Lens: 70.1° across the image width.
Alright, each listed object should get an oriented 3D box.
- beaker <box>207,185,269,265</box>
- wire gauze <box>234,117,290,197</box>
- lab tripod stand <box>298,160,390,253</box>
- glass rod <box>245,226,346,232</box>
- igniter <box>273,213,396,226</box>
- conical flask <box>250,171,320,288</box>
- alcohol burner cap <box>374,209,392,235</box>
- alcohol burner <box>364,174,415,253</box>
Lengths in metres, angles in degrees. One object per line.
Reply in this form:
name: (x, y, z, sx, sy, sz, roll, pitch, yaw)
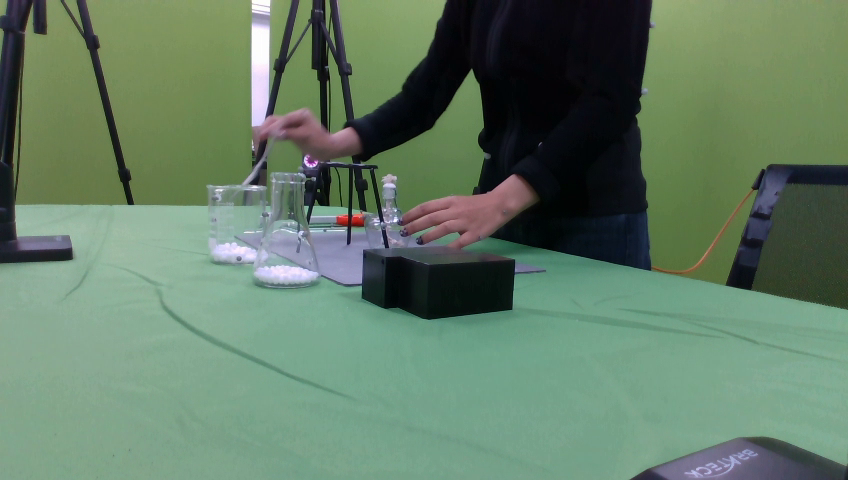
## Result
beaker: (-0.244, -0.021, 0.784, 0.083, 0.100, 0.074, 6, 8, 30)
wire gauze: (-0.259, -0.132, 0.978, 0.011, 0.121, 0.124, 34, -34, -18)
lab tripod stand: (-0.111, -0.050, 0.893, 0.148, 0.131, 0.148, 4, 7, 0)
glass rod: (-0.236, -0.021, 1.140, 0.201, 0.008, 0.008, -3, 8, -33)
igniter: (-0.179, -0.044, 1.258, 0.278, 0.025, 0.057, -3, -1, -39)
conical flask: (-0.150, -0.013, 0.658, 0.075, 0.122, 0.075, 2, 7, 0)
alcohol burner cap: (-0.078, -0.035, 1.148, 0.034, 0.048, 0.034, 2, 7, 0)
alcohol burner: (-0.053, -0.041, 0.918, 0.078, 0.119, 0.078, 0, 7, 0)
